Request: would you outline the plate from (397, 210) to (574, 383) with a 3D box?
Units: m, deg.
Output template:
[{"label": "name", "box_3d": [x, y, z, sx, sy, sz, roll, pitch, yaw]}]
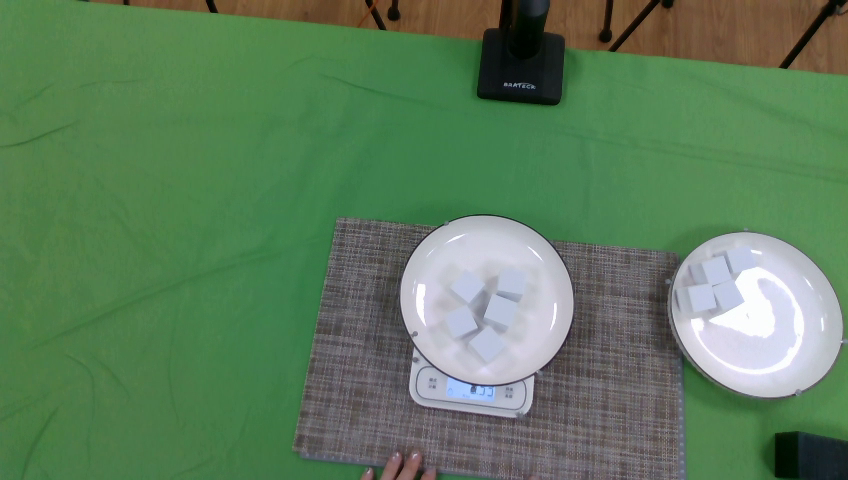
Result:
[{"label": "plate", "box_3d": [0.072, 0.066, 0.723, 0.209, 0.038, 0.207, 0, 71, 0]}]

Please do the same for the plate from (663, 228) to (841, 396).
[{"label": "plate", "box_3d": [0.397, 0.088, 0.747, 0.208, 0.039, 0.206, 0, 71, 1]}]

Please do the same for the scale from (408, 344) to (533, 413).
[{"label": "scale", "box_3d": [0.064, 0.104, 0.745, 0.148, 0.032, 0.199, 7, 72, 3]}]
